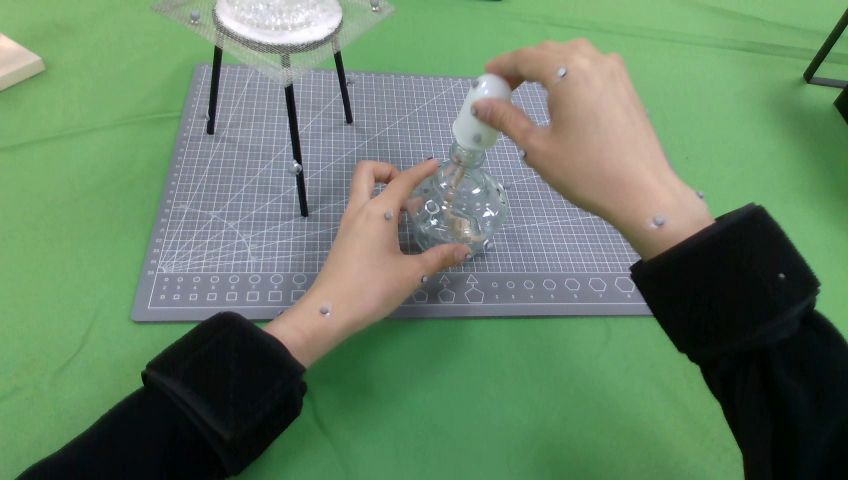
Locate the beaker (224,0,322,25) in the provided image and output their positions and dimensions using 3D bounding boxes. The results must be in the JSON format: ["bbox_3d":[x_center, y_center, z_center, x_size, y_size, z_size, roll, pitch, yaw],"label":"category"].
[{"bbox_3d":[-0.101,-0.198,0.387,0.073,0.101,0.084,38,56,20],"label":"beaker"}]

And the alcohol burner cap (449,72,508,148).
[{"bbox_3d":[0.037,-0.086,0.392,0.034,0.048,0.033,7,53,-10],"label":"alcohol burner cap"}]

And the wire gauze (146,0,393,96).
[{"bbox_3d":[-0.104,-0.162,0.422,0.124,0.011,0.121,34,56,13],"label":"wire gauze"}]

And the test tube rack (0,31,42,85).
[{"bbox_3d":[-0.439,-0.132,0.463,0.066,0.086,0.241,31,52,16],"label":"test tube rack"}]

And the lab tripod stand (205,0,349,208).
[{"bbox_3d":[-0.109,-0.120,0.471,0.149,0.132,0.147,6,50,-7],"label":"lab tripod stand"}]

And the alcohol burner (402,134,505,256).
[{"bbox_3d":[0.025,-0.043,0.443,0.078,0.120,0.077,6,48,-6],"label":"alcohol burner"}]
